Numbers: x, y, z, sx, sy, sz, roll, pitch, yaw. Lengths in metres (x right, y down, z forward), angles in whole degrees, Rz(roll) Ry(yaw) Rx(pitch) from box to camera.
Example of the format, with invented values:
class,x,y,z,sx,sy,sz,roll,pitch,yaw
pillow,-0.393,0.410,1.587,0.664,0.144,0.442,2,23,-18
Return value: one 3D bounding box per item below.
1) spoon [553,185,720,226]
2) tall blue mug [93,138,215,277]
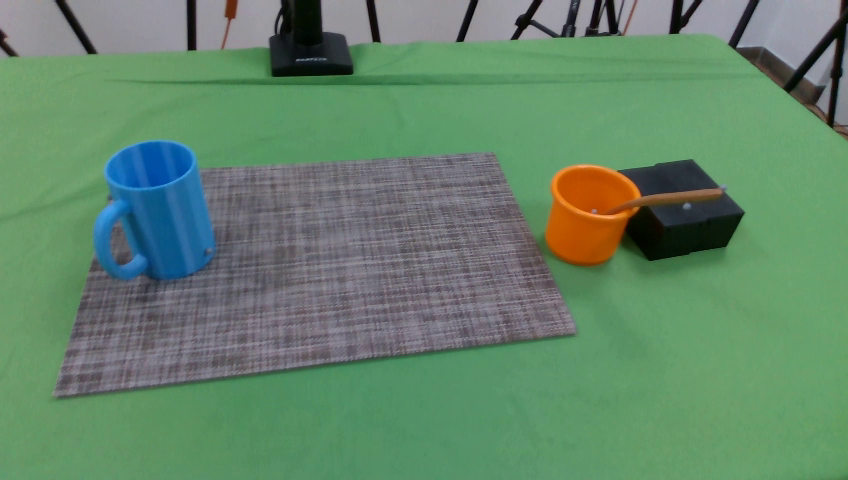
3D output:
class,x,y,z,sx,sy,sz,roll,pitch,yaw
spoon,0.200,-0.035,0.599,0.042,0.193,0.021,-22,92,-31
tall blue mug,-0.246,-0.019,0.561,0.078,0.109,0.106,1,43,-5
